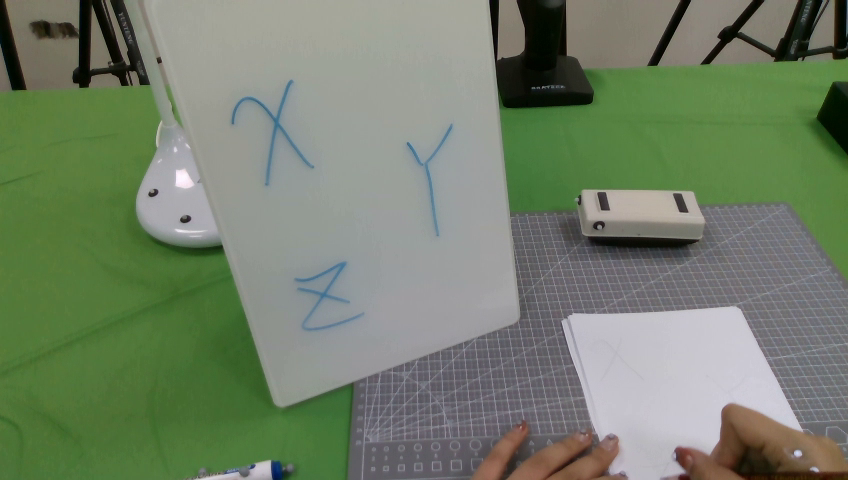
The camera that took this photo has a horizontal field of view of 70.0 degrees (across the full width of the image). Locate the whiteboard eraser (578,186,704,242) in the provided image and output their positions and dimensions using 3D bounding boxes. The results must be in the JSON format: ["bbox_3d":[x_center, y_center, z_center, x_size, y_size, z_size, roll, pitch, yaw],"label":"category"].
[{"bbox_3d":[0.212,-0.026,0.598,0.112,0.042,0.055,2,44,4],"label":"whiteboard eraser"}]

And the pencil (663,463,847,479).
[{"bbox_3d":[0.210,0.131,0.342,0.012,0.194,0.012,9,68,-25],"label":"pencil"}]

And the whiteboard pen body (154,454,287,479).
[{"bbox_3d":[-0.167,0.170,0.419,0.141,0.017,0.017,-9,43,-8],"label":"whiteboard pen body"}]

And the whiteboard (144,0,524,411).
[{"bbox_3d":[-0.059,-0.058,0.492,0.217,0.307,0.142,-17,26,-15],"label":"whiteboard"}]

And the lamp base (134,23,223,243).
[{"bbox_3d":[-0.235,-0.115,0.607,0.177,0.182,0.160,27,50,30],"label":"lamp base"}]
